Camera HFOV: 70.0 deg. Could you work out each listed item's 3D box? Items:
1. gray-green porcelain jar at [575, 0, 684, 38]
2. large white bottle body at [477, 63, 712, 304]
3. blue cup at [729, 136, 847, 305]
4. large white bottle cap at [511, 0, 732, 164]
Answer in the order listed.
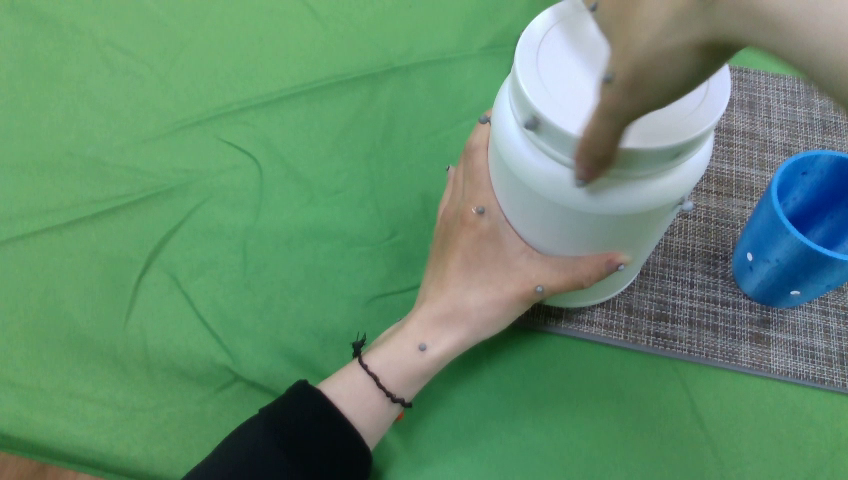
[{"bbox_3d":[0.198,-0.262,0.556,0.106,0.127,0.105,0,61,1],"label":"gray-green porcelain jar"},{"bbox_3d":[0.106,-0.050,0.403,0.130,0.186,0.129,0,61,1],"label":"large white bottle body"},{"bbox_3d":[0.263,-0.002,0.423,0.092,0.101,0.092,-1,59,1],"label":"blue cup"},{"bbox_3d":[0.105,-0.091,0.327,0.115,0.018,0.114,0,61,1],"label":"large white bottle cap"}]
